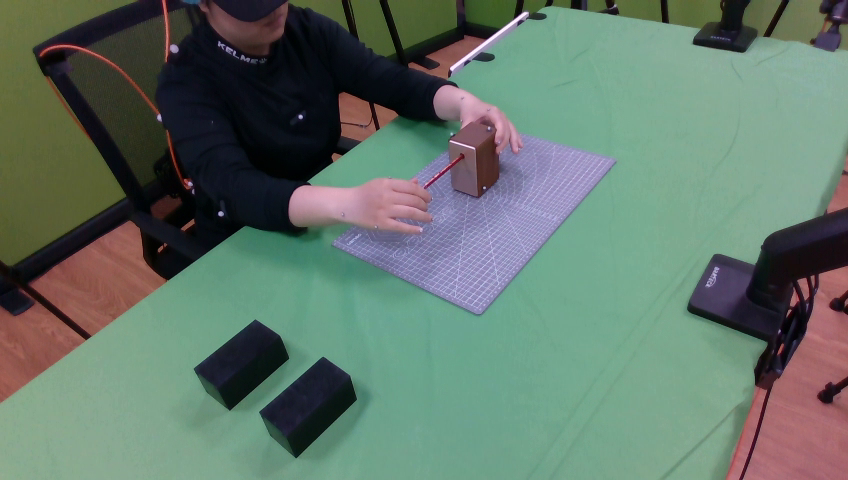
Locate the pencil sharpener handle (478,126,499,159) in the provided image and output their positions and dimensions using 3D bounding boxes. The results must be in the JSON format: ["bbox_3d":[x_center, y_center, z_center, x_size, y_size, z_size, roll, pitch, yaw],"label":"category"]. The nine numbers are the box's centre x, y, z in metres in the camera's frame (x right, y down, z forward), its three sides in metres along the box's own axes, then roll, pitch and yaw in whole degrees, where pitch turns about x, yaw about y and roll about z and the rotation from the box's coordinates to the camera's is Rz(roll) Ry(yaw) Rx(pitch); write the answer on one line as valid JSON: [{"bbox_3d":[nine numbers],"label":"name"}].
[{"bbox_3d":[0.119,-0.177,1.073,0.035,0.068,0.031,20,47,32],"label":"pencil sharpener handle"}]

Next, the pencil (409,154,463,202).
[{"bbox_3d":[0.036,-0.116,0.988,0.012,0.012,0.194,20,46,29],"label":"pencil"}]

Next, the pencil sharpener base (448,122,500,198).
[{"bbox_3d":[0.090,-0.140,1.052,0.061,0.107,0.077,22,48,31],"label":"pencil sharpener base"}]
